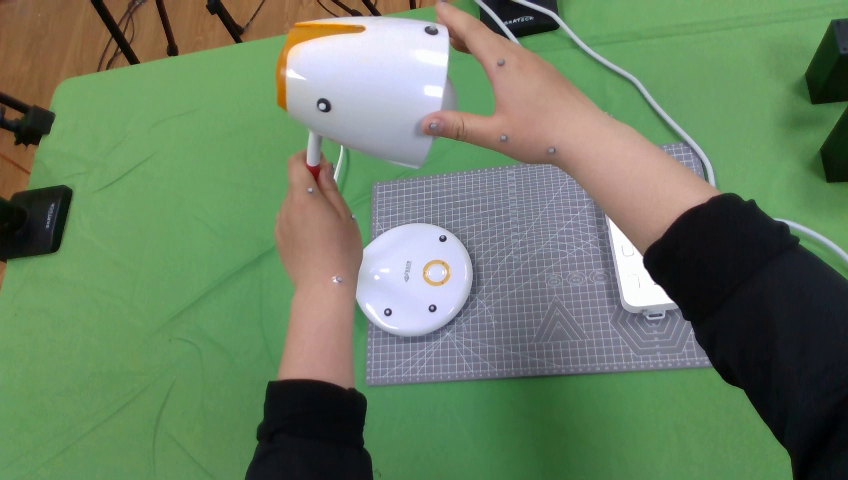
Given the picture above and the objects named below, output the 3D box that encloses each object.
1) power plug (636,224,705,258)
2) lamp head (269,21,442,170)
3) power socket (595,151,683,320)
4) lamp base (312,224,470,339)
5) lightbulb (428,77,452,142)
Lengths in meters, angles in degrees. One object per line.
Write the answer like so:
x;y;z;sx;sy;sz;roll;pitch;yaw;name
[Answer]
0.291;0.005;0.721;0.072;0.053;0.035;2;69;13;power plug
-0.056;-0.114;0.468;0.123;0.113;0.111;5;66;-8;lamp head
0.265;-0.013;0.756;0.072;0.033;0.225;-8;65;10;power socket
-0.048;0.025;0.738;0.179;0.182;0.159;-11;64;13;lamp base
-0.031;-0.110;0.465;0.108;0.059;0.059;16;69;-9;lightbulb
